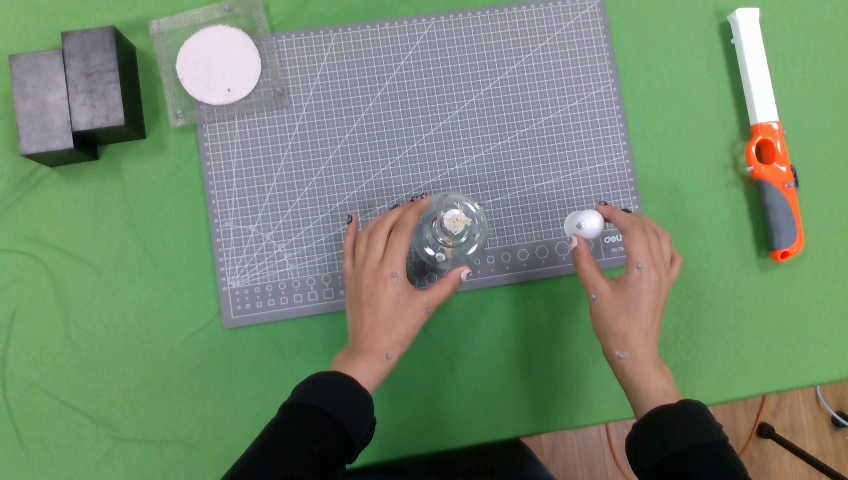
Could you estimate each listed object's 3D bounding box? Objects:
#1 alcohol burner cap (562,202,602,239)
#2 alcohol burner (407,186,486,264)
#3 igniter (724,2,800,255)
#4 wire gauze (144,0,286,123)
[{"bbox_3d":[0.153,-0.019,0.577,0.034,0.048,0.034,0,84,0],"label":"alcohol burner cap"},{"bbox_3d":[0.023,-0.017,0.580,0.078,0.119,0.077,0,83,-4],"label":"alcohol burner"},{"bbox_3d":[0.365,-0.121,0.655,0.057,0.025,0.276,-7,86,-15],"label":"igniter"},{"bbox_3d":[-0.219,-0.190,0.631,0.125,0.011,0.121,-14,86,-4],"label":"wire gauze"}]
